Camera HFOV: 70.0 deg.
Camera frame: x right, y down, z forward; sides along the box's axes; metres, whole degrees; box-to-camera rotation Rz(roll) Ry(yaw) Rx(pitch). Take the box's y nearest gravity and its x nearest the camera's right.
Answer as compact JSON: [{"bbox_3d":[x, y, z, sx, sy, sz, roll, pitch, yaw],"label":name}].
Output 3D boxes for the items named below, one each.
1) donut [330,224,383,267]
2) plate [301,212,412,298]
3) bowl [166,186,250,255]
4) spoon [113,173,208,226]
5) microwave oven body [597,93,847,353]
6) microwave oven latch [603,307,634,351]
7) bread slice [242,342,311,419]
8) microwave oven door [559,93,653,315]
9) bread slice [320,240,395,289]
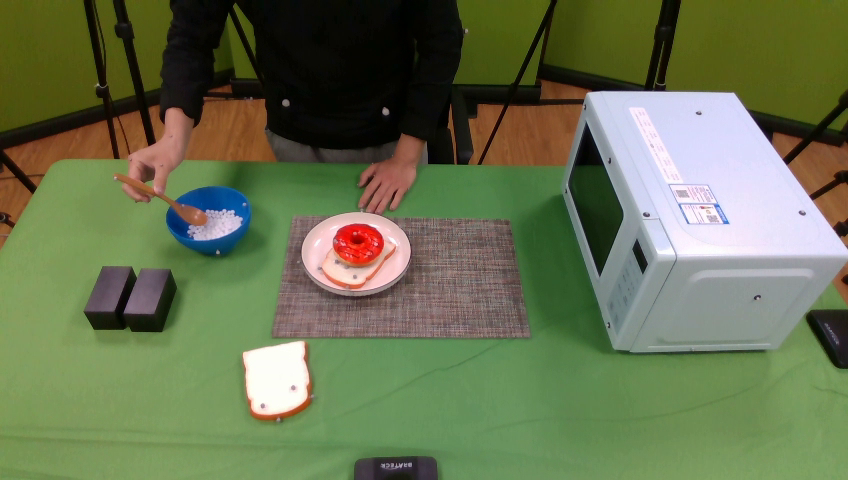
[{"bbox_3d":[-0.125,0.010,1.127,0.099,0.048,0.098,3,45,-3],"label":"donut"},{"bbox_3d":[-0.126,0.031,1.145,0.208,0.039,0.206,2,46,-2],"label":"plate"},{"bbox_3d":[-0.403,-0.024,1.154,0.151,0.077,0.150,2,46,-2],"label":"bowl"},{"bbox_3d":[-0.458,-0.072,1.064,0.021,0.195,0.041,-25,57,16],"label":"spoon"},{"bbox_3d":[0.475,-0.041,1.109,0.326,0.261,0.438,-1,45,-4],"label":"microwave oven body"},{"bbox_3d":[0.332,0.153,1.044,0.030,0.029,0.078,0,45,-4],"label":"microwave oven latch"},{"bbox_3d":[-0.234,0.223,0.970,0.105,0.019,0.130,-10,46,-12],"label":"bread slice"},{"bbox_3d":[0.327,-0.074,1.123,0.039,0.245,0.353,-1,46,-5],"label":"microwave oven door"},{"bbox_3d":[-0.129,0.037,1.141,0.107,0.018,0.134,19,47,14],"label":"bread slice"}]
